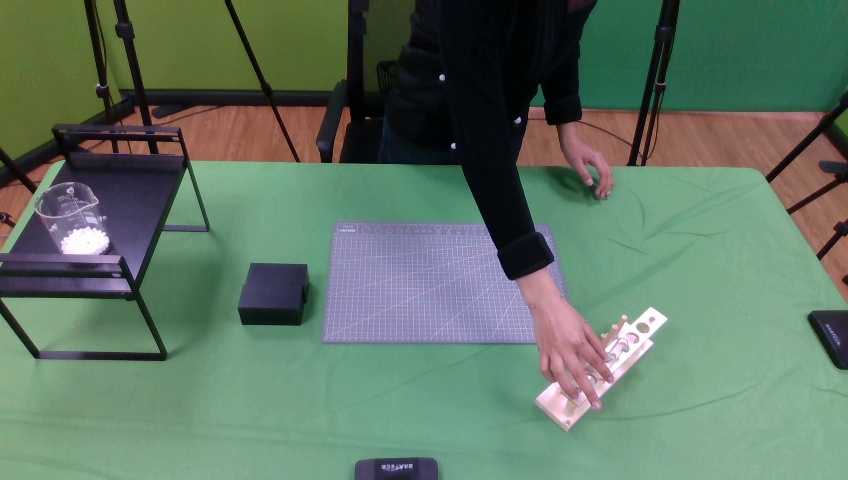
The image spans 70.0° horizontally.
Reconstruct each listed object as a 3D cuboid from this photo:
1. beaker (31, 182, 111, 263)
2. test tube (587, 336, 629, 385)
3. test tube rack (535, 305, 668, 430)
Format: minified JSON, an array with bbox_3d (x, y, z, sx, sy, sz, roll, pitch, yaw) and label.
[{"bbox_3d":[-0.502,-0.022,0.877,0.084,0.101,0.073,-2,47,-6],"label":"beaker"},{"bbox_3d":[0.275,0.191,0.916,0.017,0.151,0.017,5,48,-5],"label":"test tube"},{"bbox_3d":[0.290,0.193,0.984,0.242,0.085,0.066,-32,57,-30],"label":"test tube rack"}]
